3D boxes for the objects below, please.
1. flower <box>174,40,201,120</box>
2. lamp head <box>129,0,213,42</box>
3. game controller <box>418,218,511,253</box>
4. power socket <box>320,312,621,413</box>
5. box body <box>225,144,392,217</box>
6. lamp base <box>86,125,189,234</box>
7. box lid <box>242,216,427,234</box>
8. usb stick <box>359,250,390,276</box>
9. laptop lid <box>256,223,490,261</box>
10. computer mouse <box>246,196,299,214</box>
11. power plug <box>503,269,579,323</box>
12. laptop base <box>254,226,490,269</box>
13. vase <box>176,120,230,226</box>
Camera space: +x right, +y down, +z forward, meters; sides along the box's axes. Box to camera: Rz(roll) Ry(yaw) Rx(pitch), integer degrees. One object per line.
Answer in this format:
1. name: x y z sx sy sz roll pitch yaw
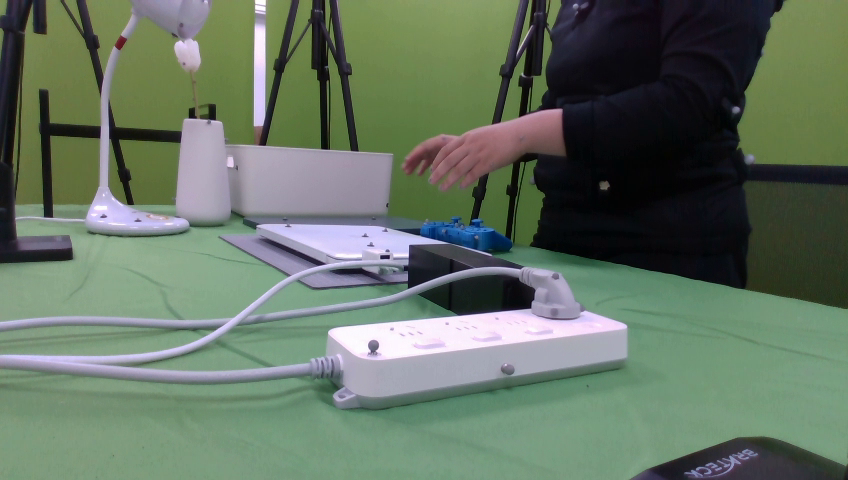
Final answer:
1. flower: -0.430 -0.211 1.166 0.044 0.361 0.038 -10 -5 -23
2. lamp head: -0.423 -0.394 0.980 0.123 0.112 0.112 20 7 -3
3. game controller: 0.063 -0.009 1.027 0.154 0.051 0.097 9 14 43
4. power socket: 0.038 0.075 0.409 0.228 0.032 0.072 -2 8 -29
5. box body: -0.289 -0.143 1.475 0.366 0.160 0.253 -1 9 -29
6. lamp base: -0.497 -0.105 1.027 0.179 0.180 0.160 1 7 3
7. box lid: -0.162 -0.030 1.233 0.373 0.015 0.262 -1 8 -32
8. usb stick: -0.061 0.026 0.709 0.021 0.027 0.059 -1 3 -29
9. laptop lid: -0.092 0.000 0.912 0.243 0.013 0.355 1 7 -30
10. computer mouse: -0.354 -0.083 1.418 0.117 0.041 0.063 0 10 7
11. power plug: 0.091 0.051 0.469 0.035 0.052 0.072 0 6 -18
12. laptop base: -0.095 0.011 0.911 0.237 0.023 0.352 3 6 -32
13. vase: -0.425 -0.128 1.159 0.098 0.200 0.098 2 9 0
